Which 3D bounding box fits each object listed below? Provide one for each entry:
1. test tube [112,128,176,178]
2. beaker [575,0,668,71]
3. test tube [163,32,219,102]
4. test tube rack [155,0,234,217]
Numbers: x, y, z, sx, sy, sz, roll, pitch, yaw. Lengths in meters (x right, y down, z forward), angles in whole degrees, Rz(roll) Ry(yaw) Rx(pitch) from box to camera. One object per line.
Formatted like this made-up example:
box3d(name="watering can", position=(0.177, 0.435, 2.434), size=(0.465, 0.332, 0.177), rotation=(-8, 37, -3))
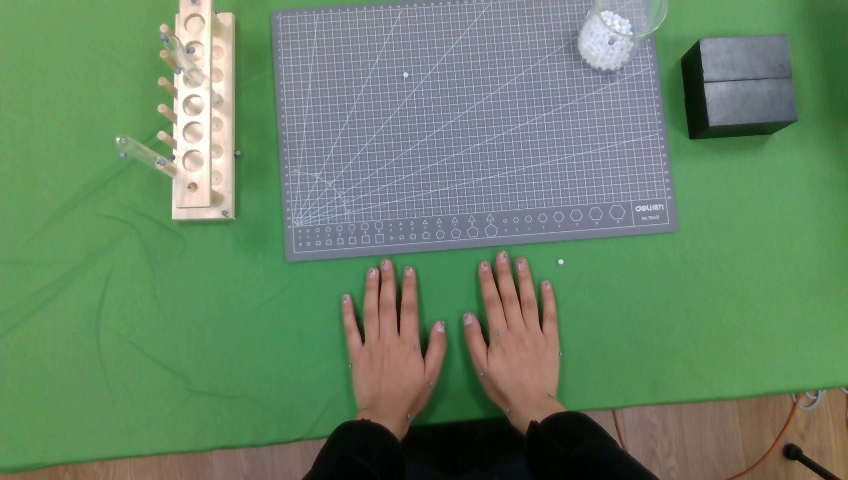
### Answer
box3d(name="test tube", position=(-0.270, -0.083, 0.610), size=(0.017, 0.151, 0.017), rotation=(0, 82, 1))
box3d(name="beaker", position=(0.210, -0.239, 0.671), size=(0.084, 0.100, 0.074), rotation=(33, 84, 5))
box3d(name="test tube", position=(-0.233, -0.171, 0.616), size=(0.017, 0.150, 0.017), rotation=(1, 83, -5))
box3d(name="test tube rack", position=(-0.253, -0.151, 0.663), size=(0.067, 0.085, 0.241), rotation=(-2, 84, -1))
